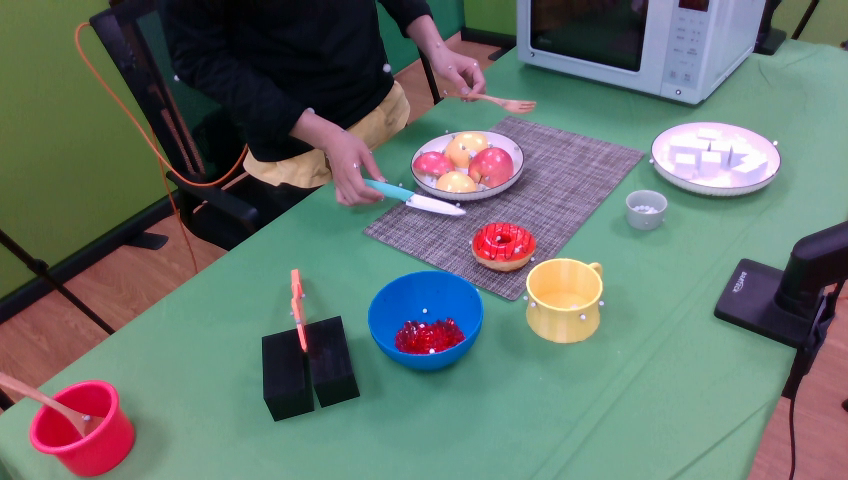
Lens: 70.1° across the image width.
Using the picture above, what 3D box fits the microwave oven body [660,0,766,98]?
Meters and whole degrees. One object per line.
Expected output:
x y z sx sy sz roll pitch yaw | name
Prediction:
0.472 -0.513 1.317 0.438 0.261 0.327 26 51 34 | microwave oven body

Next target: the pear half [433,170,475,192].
0.052 -0.105 1.052 0.071 0.031 0.087 -5 33 -30 | pear half

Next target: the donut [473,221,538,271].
0.123 0.008 0.923 0.099 0.048 0.098 -4 38 3 | donut

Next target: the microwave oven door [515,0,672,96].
0.343 -0.454 1.259 0.353 0.245 0.039 26 51 33 | microwave oven door

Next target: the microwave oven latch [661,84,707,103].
0.517 -0.296 1.204 0.078 0.029 0.030 27 52 35 | microwave oven latch

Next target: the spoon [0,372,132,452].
-0.439 0.195 0.715 0.195 0.021 0.041 37 41 -16 | spoon

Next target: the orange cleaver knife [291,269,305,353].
-0.175 0.094 0.844 0.012 0.077 0.210 -11 15 -10 | orange cleaver knife

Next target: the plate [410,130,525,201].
0.079 -0.132 1.101 0.209 0.038 0.208 -4 40 4 | plate

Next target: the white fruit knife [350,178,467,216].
-0.026 -0.071 1.008 0.206 0.016 0.027 16 86 14 | white fruit knife

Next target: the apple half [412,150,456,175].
0.022 -0.144 1.097 0.081 0.033 0.081 7 22 -2 | apple half

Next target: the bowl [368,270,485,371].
0.007 0.118 0.791 0.151 0.077 0.150 -5 40 4 | bowl

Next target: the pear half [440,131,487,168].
0.063 -0.173 1.129 0.110 0.056 0.076 -6 35 3 | pear half

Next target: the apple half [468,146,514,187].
0.119 -0.137 1.073 0.080 0.053 0.075 26 49 38 | apple half

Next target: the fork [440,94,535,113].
0.114 -0.257 1.130 0.205 0.018 0.028 21 29 33 | fork

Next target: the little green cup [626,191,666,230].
0.352 -0.046 0.963 0.061 0.039 0.061 -4 40 4 | little green cup

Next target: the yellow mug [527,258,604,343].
0.201 0.073 0.824 0.131 0.064 0.099 -32 46 -27 | yellow mug

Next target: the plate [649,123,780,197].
0.497 -0.135 1.046 0.207 0.039 0.206 -4 40 4 | plate
